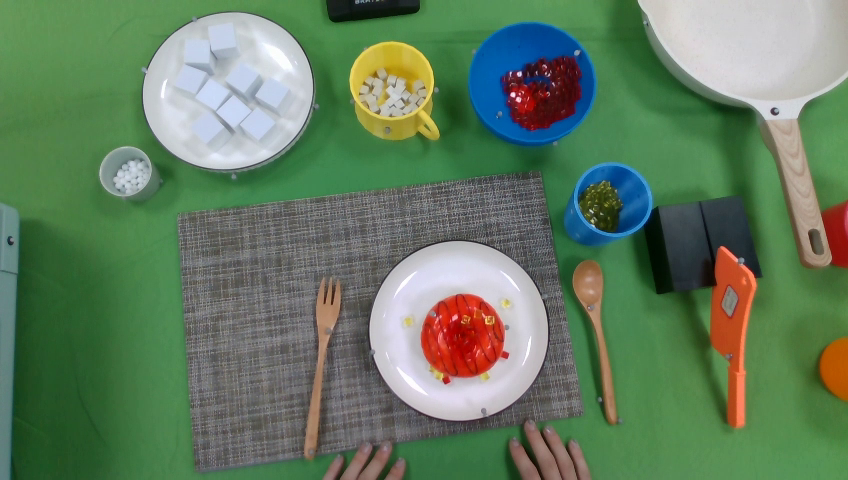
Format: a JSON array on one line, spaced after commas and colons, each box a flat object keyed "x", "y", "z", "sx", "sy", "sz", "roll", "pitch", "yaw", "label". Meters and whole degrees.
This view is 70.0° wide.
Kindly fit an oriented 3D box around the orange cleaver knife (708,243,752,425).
[{"x": 0.346, "y": 0.109, "z": 0.692, "sx": 0.012, "sy": 0.076, "sz": 0.212, "roll": -8, "pitch": 109, "yaw": -3, "label": "orange cleaver knife"}]

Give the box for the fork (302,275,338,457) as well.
[{"x": -0.123, "y": 0.144, "z": 0.701, "sx": 0.028, "sy": 0.018, "sz": 0.206, "roll": 8, "pitch": 78, "yaw": -12, "label": "fork"}]

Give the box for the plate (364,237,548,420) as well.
[{"x": 0.036, "y": 0.101, "z": 0.703, "sx": 0.209, "sy": 0.038, "sz": 0.208, "roll": 0, "pitch": 80, "yaw": -1, "label": "plate"}]

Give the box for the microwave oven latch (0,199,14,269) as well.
[{"x": -0.490, "y": -0.007, "z": 0.693, "sx": 0.030, "sy": 0.029, "sz": 0.079, "roll": -2, "pitch": 81, "yaw": -2, "label": "microwave oven latch"}]

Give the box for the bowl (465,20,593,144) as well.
[{"x": 0.122, "y": -0.180, "z": 0.740, "sx": 0.151, "sy": 0.077, "sz": 0.151, "roll": 0, "pitch": 80, "yaw": -1, "label": "bowl"}]

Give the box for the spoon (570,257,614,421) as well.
[{"x": 0.204, "y": 0.117, "z": 0.717, "sx": 0.042, "sy": 0.021, "sz": 0.193, "roll": -4, "pitch": 79, "yaw": -24, "label": "spoon"}]

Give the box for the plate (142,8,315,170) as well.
[{"x": -0.238, "y": -0.183, "z": 0.751, "sx": 0.208, "sy": 0.039, "sz": 0.207, "roll": 0, "pitch": 80, "yaw": -1, "label": "plate"}]

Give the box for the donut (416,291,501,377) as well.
[{"x": 0.039, "y": 0.107, "z": 0.691, "sx": 0.099, "sy": 0.048, "sz": 0.099, "roll": 0, "pitch": 83, "yaw": -1, "label": "donut"}]

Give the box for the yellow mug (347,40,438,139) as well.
[{"x": -0.030, "y": -0.173, "z": 0.741, "sx": 0.130, "sy": 0.064, "sz": 0.100, "roll": 45, "pitch": 82, "yaw": 6, "label": "yellow mug"}]

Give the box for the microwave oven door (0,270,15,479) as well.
[{"x": -0.473, "y": 0.189, "z": 0.555, "sx": 0.039, "sy": 0.244, "sz": 0.354, "roll": -5, "pitch": 80, "yaw": -2, "label": "microwave oven door"}]

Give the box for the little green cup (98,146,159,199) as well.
[{"x": -0.351, "y": -0.078, "z": 0.727, "sx": 0.061, "sy": 0.039, "sz": 0.061, "roll": 0, "pitch": 81, "yaw": -2, "label": "little green cup"}]

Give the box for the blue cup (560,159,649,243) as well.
[{"x": 0.200, "y": -0.036, "z": 0.704, "sx": 0.093, "sy": 0.100, "sz": 0.092, "roll": 1, "pitch": 78, "yaw": -3, "label": "blue cup"}]

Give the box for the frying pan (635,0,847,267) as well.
[{"x": 0.413, "y": -0.203, "z": 0.739, "sx": 0.307, "sy": 0.103, "sz": 0.484, "roll": -2, "pitch": 72, "yaw": -1, "label": "frying pan"}]
